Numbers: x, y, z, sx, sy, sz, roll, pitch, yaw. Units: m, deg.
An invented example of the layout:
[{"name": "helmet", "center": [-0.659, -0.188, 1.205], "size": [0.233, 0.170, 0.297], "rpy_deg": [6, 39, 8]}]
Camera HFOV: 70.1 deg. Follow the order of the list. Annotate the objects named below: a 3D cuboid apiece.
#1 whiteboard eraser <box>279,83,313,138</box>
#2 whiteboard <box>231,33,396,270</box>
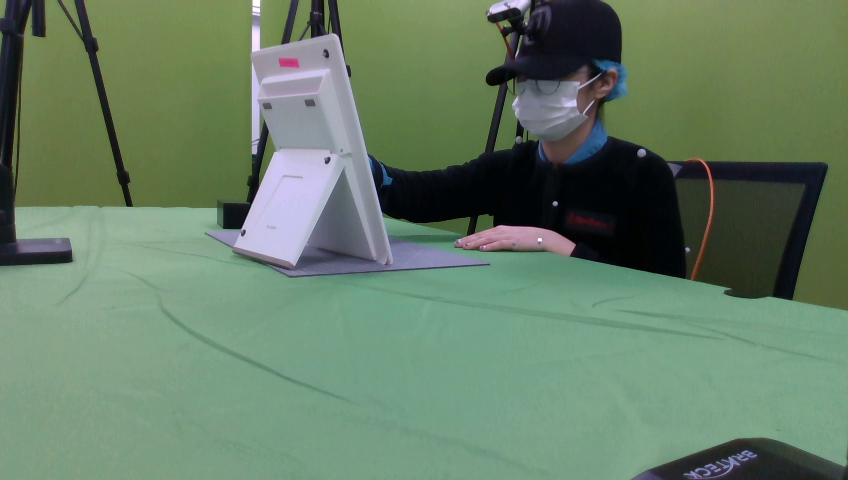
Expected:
[{"name": "whiteboard eraser", "center": [-0.183, -0.183, 0.862], "size": [0.019, 0.041, 0.101], "rpy_deg": [-28, -11, -35]}, {"name": "whiteboard", "center": [-0.193, -0.094, 0.805], "size": [0.144, 0.305, 0.216], "rpy_deg": [-29, 25, -35]}]
